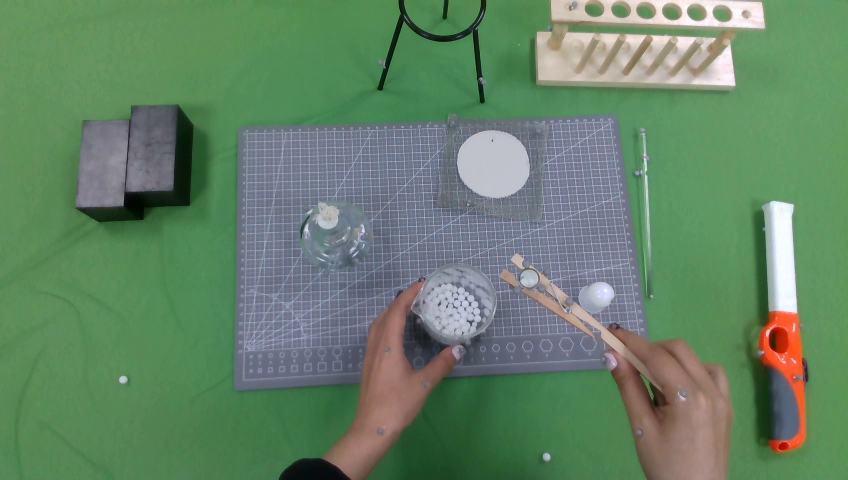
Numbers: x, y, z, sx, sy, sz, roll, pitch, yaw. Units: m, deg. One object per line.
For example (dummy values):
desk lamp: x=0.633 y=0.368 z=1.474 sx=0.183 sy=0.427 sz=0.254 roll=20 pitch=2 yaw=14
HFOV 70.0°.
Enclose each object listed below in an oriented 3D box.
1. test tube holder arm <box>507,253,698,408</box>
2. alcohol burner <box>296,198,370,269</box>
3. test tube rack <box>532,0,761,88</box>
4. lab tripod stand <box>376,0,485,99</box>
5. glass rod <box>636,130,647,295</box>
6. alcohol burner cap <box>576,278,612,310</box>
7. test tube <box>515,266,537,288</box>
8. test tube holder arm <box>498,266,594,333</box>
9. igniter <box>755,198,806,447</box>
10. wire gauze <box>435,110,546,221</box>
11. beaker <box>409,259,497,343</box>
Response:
test tube holder arm: x=0.137 y=0.068 z=0.473 sx=0.177 sy=0.015 sz=0.013 roll=38 pitch=98 yaw=11
alcohol burner: x=-0.097 y=-0.012 z=0.627 sx=0.078 sy=0.119 sz=0.077 roll=0 pitch=75 yaw=0
test tube rack: x=0.257 y=-0.233 z=0.714 sx=0.242 sy=0.085 sz=0.066 roll=1 pitch=76 yaw=-2
lab tripod stand: x=0.012 y=-0.227 z=0.677 sx=0.148 sy=0.132 sz=0.147 roll=1 pitch=78 yaw=-2
glass rod: x=0.254 y=-0.035 z=0.705 sx=0.008 sy=0.008 sz=0.199 roll=3 pitch=79 yaw=-2
alcohol burner cap: x=0.188 y=0.057 z=0.660 sx=0.034 sy=0.048 sz=0.033 roll=1 pitch=76 yaw=-2
test tube: x=0.085 y=0.032 z=0.508 sx=0.017 sy=0.151 sz=0.017 roll=-1 pitch=85 yaw=9
test tube holder arm: x=0.098 y=0.047 z=0.482 sx=0.087 sy=0.015 sz=0.010 roll=31 pitch=96 yaw=12
igniter: x=0.394 y=0.087 z=0.673 sx=0.057 sy=0.025 sz=0.275 roll=8 pitch=76 yaw=-11
wire gauze: x=0.079 y=-0.090 z=0.709 sx=0.125 sy=0.011 sz=0.121 roll=8 pitch=77 yaw=-1
beaker: x=0.026 y=0.067 z=0.621 sx=0.084 sy=0.100 sz=0.073 roll=-8 pitch=76 yaw=-4
